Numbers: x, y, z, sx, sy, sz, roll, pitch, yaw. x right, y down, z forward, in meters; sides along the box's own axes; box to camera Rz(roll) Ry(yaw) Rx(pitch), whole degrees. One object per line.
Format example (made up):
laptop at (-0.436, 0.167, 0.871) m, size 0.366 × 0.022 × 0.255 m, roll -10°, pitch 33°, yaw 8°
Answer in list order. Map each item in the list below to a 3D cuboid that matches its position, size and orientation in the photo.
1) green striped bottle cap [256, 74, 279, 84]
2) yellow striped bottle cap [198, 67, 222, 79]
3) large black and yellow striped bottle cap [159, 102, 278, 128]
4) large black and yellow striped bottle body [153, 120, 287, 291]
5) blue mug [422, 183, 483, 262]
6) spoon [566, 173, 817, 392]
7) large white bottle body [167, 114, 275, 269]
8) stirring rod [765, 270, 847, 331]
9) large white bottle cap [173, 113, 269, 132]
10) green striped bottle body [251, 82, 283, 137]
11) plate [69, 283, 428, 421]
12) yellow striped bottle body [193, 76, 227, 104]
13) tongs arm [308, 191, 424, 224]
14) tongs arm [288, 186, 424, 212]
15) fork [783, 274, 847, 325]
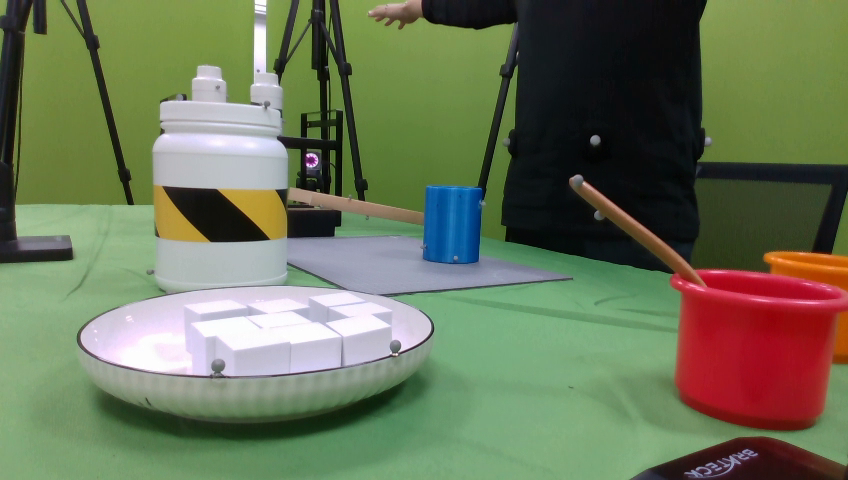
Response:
green striped bottle cap at (-0.314, -0.322, 1.214) m, size 0.044 × 0.020 × 0.044 m, roll 1°, pitch 8°, yaw 0°
yellow striped bottle cap at (-0.412, -0.320, 1.163) m, size 0.044 × 0.018 × 0.044 m, roll 1°, pitch 6°, yaw 0°
large black and yellow striped bottle cap at (-0.207, -0.125, 0.615) m, size 0.115 × 0.019 × 0.115 m, roll 2°, pitch 6°, yaw 0°
large black and yellow striped bottle body at (-0.208, -0.042, 0.626) m, size 0.131 × 0.184 × 0.130 m, roll 2°, pitch 7°, yaw 0°
blue mug at (0.032, -0.028, 0.878) m, size 0.083 × 0.106 × 0.116 m, roll -2°, pitch 8°, yaw -31°
spoon at (0.161, 0.024, 0.370) m, size 0.193 × 0.021 × 0.042 m, roll 47°, pitch 18°, yaw 3°
large white bottle body at (-0.256, -0.063, 0.771) m, size 0.131 × 0.184 × 0.130 m, roll 2°, pitch 7°, yaw 0°
stirring rod at (0.352, 0.020, 0.484) m, size 0.176 × 0.006 × 0.014 m, roll -40°, pitch -7°, yaw 13°
large white bottle cap at (-0.254, -0.146, 0.760) m, size 0.115 × 0.018 × 0.115 m, roll 1°, pitch 7°, yaw 0°
green striped bottle body at (-0.317, -0.270, 1.220) m, size 0.063 × 0.119 × 0.063 m, roll 2°, pitch 7°, yaw 0°
plate at (-0.102, 0.066, 0.381) m, size 0.208 × 0.039 × 0.207 m, roll 2°, pitch 7°, yaw 0°
yellow striped bottle body at (-0.414, -0.268, 1.169) m, size 0.063 × 0.120 × 0.063 m, roll 2°, pitch 7°, yaw 0°
tongs arm at (-0.048, -0.051, 1.169) m, size 0.387 × 0.026 × 0.050 m, roll 9°, pitch 2°, yaw -32°
tongs arm at (-0.083, -0.062, 1.243) m, size 0.389 × 0.027 × 0.028 m, roll 10°, pitch -2°, yaw -19°
fork at (0.332, 0.018, 0.444) m, size 0.028 × 0.018 × 0.207 m, roll -1°, pitch -36°, yaw -15°
